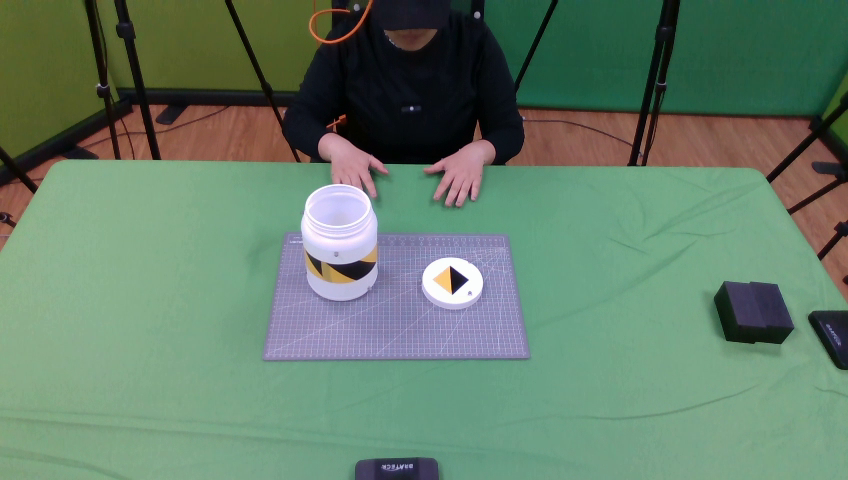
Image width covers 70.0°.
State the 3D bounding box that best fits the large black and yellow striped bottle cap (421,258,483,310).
[{"bbox_3d":[0.053,0.081,1.126,0.115,0.019,0.114,2,45,-1],"label":"large black and yellow striped bottle cap"}]

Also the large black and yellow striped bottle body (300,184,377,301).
[{"bbox_3d":[-0.148,0.004,1.067,0.131,0.185,0.130,2,46,-2],"label":"large black and yellow striped bottle body"}]
